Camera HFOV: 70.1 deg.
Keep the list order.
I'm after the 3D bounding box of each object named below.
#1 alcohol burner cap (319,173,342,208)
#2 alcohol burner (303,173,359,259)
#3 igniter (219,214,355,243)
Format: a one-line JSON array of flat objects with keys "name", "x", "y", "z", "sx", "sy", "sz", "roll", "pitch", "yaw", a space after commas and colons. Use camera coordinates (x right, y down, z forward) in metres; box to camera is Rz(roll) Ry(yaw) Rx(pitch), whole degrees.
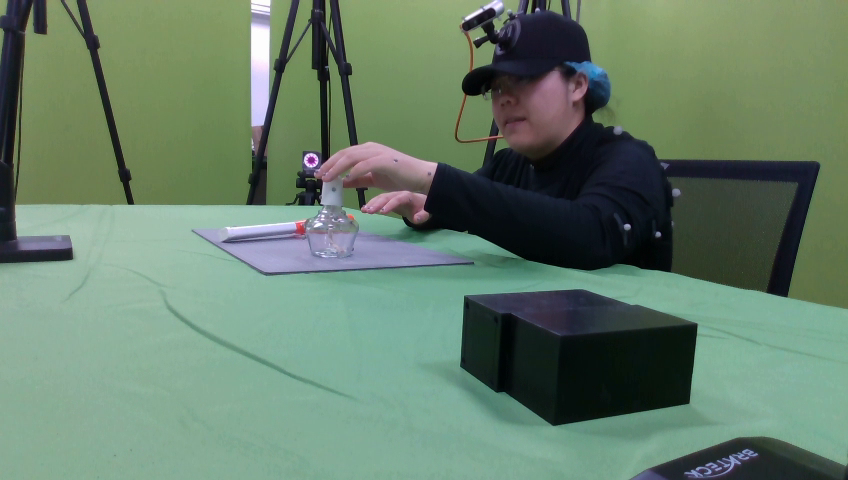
[{"name": "alcohol burner cap", "x": -0.129, "y": -0.070, "z": 0.845, "sx": 0.034, "sy": 0.048, "sz": 0.034, "roll": 4, "pitch": 6, "yaw": 0}, {"name": "alcohol burner", "x": -0.130, "y": -0.034, "z": 0.850, "sx": 0.078, "sy": 0.119, "sz": 0.078, "roll": 2, "pitch": 5, "yaw": 0}, {"name": "igniter", "x": -0.220, "y": -0.021, "z": 1.033, "sx": 0.057, "sy": 0.025, "sz": 0.278, "roll": -21, "pitch": -7, "yaw": 39}]
